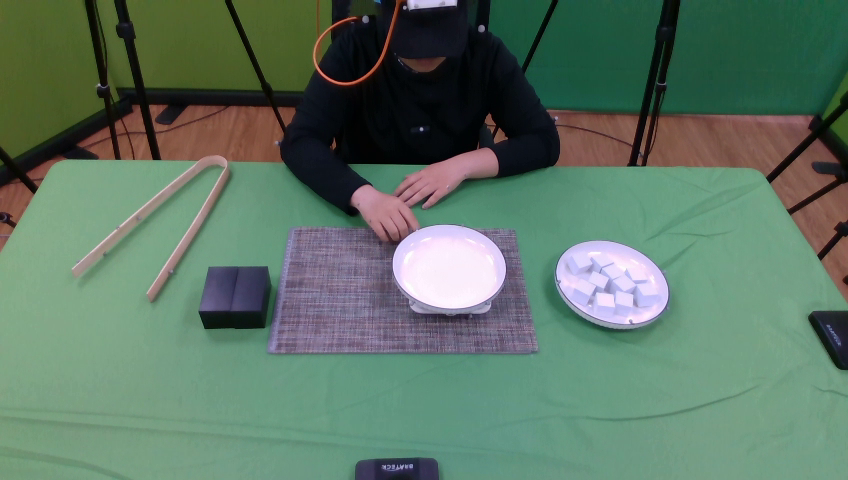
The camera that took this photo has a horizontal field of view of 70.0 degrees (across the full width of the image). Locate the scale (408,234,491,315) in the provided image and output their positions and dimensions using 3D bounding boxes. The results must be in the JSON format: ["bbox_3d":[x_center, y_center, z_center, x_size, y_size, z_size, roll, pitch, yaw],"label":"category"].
[{"bbox_3d":[0.045,0.055,1.135,0.149,0.032,0.199,1,46,-3],"label":"scale"}]

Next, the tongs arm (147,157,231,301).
[{"bbox_3d":[-0.453,-0.035,1.193,0.028,0.028,0.385,6,46,6],"label":"tongs arm"}]

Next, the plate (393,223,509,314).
[{"bbox_3d":[0.048,0.053,1.092,0.208,0.039,0.206,1,46,-1],"label":"plate"}]

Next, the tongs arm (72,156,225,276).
[{"bbox_3d":[-0.531,-0.057,1.205,0.050,0.026,0.383,19,47,13],"label":"tongs arm"}]

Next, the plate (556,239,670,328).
[{"bbox_3d":[0.347,0.083,1.130,0.209,0.038,0.208,2,47,-2],"label":"plate"}]
